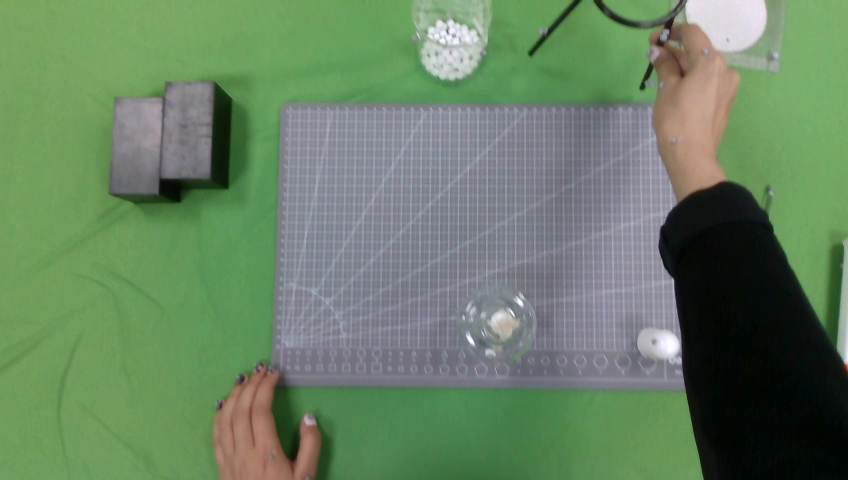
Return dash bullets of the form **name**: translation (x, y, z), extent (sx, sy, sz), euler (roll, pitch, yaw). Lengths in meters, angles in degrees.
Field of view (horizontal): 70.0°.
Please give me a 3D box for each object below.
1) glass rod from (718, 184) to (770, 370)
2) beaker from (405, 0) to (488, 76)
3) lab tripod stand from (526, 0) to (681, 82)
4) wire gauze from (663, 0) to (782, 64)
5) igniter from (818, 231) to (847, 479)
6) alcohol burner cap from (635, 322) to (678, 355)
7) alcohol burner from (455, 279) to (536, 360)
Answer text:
- **glass rod**: translation (0.328, 0.037, 0.621), extent (0.008, 0.008, 0.199), euler (17, 85, 3)
- **beaker**: translation (0.025, -0.211, 0.604), extent (0.074, 0.100, 0.084), euler (-44, 86, -2)
- **lab tripod stand**: translation (0.176, -0.225, 0.567), extent (0.148, 0.131, 0.148), euler (0, 85, 0)
- **wire gauze**: translation (0.319, -0.254, 0.648), extent (0.125, 0.011, 0.121), euler (7, 84, 4)
- **igniter**: translation (0.421, 0.128, 0.601), extent (0.057, 0.025, 0.276), euler (9, 85, -9)
- **alcohol burner cap**: translation (0.231, 0.098, 0.598), extent (0.034, 0.048, 0.034), euler (0, 83, 2)
- **alcohol burner**: translation (0.069, 0.074, 0.567), extent (0.078, 0.119, 0.077), euler (0, 82, 1)
